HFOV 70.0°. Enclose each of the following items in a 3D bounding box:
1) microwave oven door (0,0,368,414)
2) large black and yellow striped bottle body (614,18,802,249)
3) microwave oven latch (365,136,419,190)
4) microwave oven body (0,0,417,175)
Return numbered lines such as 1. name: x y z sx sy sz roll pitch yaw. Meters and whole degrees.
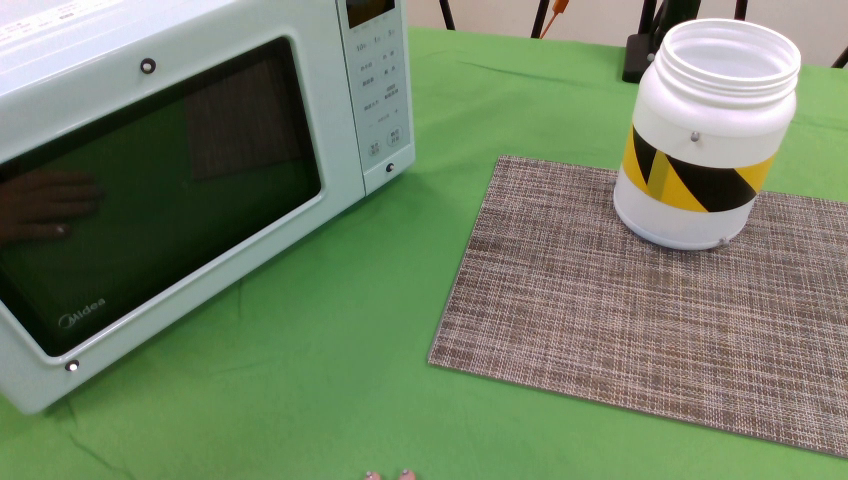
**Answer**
1. microwave oven door: -0.200 -0.045 0.481 0.039 0.246 0.355 33 55 31
2. large black and yellow striped bottle body: 0.259 -0.097 0.566 0.131 0.186 0.129 -2 45 2
3. microwave oven latch: -0.041 -0.088 0.660 0.079 0.030 0.030 -36 54 -28
4. microwave oven body: -0.275 -0.132 0.579 0.323 0.262 0.441 34 56 30
